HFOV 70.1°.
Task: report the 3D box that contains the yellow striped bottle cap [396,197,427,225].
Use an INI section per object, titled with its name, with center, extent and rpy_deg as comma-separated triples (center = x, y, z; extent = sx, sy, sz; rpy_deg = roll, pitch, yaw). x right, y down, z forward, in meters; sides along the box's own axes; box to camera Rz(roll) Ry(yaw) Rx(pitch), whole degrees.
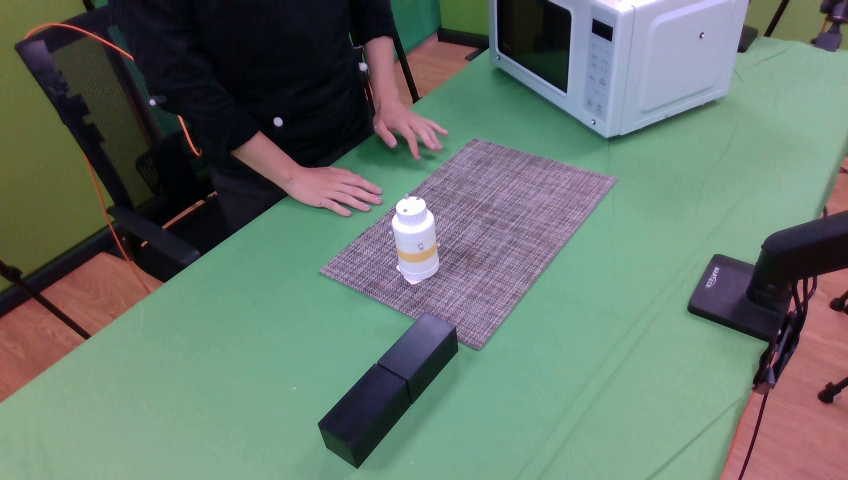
[yellow striped bottle cap]
center = -0.018, -0.042, 0.858
extent = 0.044, 0.019, 0.044
rpy_deg = -5, 38, 4

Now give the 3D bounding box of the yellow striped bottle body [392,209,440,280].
[yellow striped bottle body]
center = -0.013, -0.003, 0.892
extent = 0.063, 0.121, 0.062
rpy_deg = -4, 41, 4

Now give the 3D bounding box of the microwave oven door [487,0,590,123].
[microwave oven door]
center = 0.231, -0.420, 1.230
extent = 0.039, 0.245, 0.352
rpy_deg = -22, 43, -16

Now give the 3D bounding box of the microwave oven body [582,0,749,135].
[microwave oven body]
center = 0.381, -0.444, 1.246
extent = 0.327, 0.261, 0.437
rpy_deg = -22, 42, -16

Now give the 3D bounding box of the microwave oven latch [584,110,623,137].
[microwave oven latch]
center = 0.337, -0.222, 1.142
extent = 0.030, 0.029, 0.078
rpy_deg = -21, 42, -15
